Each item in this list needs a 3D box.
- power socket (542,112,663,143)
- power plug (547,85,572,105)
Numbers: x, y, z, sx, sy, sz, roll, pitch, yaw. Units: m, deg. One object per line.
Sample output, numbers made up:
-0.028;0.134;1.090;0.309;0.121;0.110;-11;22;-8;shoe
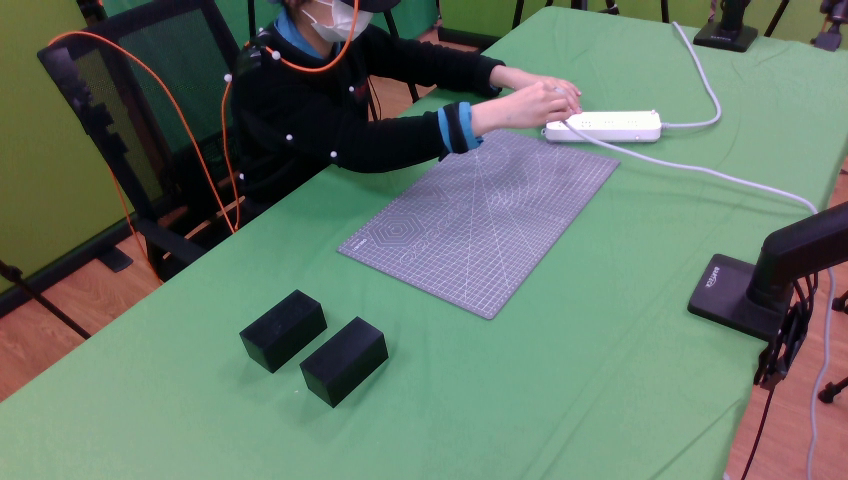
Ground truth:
0.342;-0.218;1.164;0.226;0.033;0.072;3;41;11;power socket
0.252;-0.266;1.083;0.073;0.035;0.052;-30;45;-26;power plug
